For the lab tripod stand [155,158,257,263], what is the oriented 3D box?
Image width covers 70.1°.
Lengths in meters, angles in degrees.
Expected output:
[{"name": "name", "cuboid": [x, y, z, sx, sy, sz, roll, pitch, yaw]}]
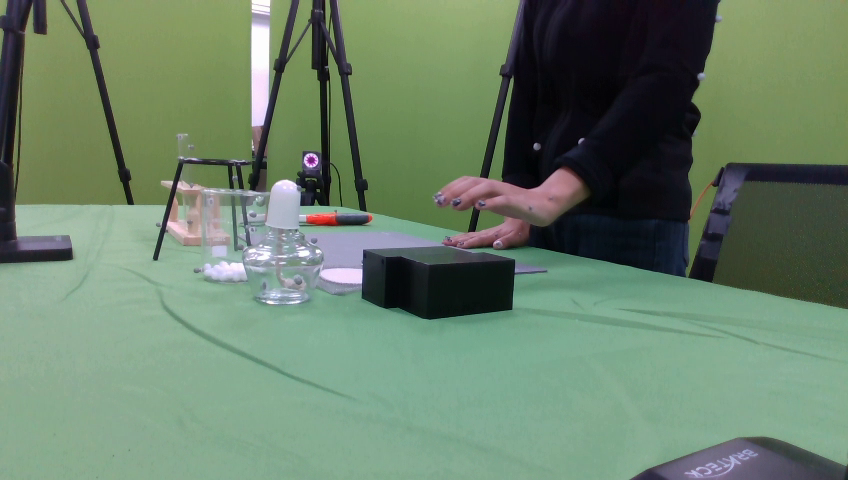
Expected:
[{"name": "lab tripod stand", "cuboid": [-0.275, -0.041, 0.797, 0.148, 0.131, 0.148, 2, 9, 0]}]

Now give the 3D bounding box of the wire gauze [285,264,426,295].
[{"name": "wire gauze", "cuboid": [-0.079, 0.039, 0.692, 0.122, 0.011, 0.124, -4, 11, -37]}]

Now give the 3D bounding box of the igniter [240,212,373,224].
[{"name": "igniter", "cuboid": [-0.237, -0.045, 1.250, 0.278, 0.025, 0.057, -2, -2, -31]}]

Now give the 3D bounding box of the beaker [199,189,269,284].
[{"name": "beaker", "cuboid": [-0.209, -0.006, 0.676, 0.073, 0.100, 0.084, 7, 8, 28]}]

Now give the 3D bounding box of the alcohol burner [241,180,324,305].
[{"name": "alcohol burner", "cuboid": [-0.136, 0.002, 0.583, 0.078, 0.119, 0.078, 1, 8, 0]}]

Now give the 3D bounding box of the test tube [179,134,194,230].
[{"name": "test tube", "cuboid": [-0.366, -0.089, 0.938, 0.017, 0.150, 0.017, -1, 9, 1]}]

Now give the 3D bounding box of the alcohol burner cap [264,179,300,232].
[{"name": "alcohol burner cap", "cuboid": [-0.134, -0.034, 0.579, 0.034, 0.048, 0.034, 9, 10, -1]}]

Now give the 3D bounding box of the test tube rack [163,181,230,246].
[{"name": "test tube rack", "cuboid": [-0.387, -0.050, 1.015, 0.067, 0.085, 0.241, -2, 9, -30]}]
